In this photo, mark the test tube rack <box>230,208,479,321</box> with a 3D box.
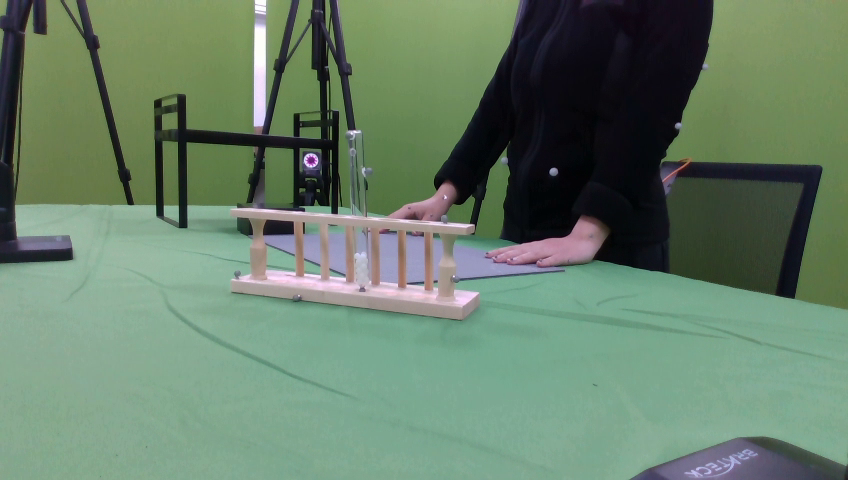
[{"bbox_3d":[-0.069,0.017,0.598,0.242,0.085,0.067,5,7,18],"label":"test tube rack"}]

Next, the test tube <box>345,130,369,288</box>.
[{"bbox_3d":[-0.063,-0.028,0.571,0.017,0.150,0.017,-2,10,1],"label":"test tube"}]
